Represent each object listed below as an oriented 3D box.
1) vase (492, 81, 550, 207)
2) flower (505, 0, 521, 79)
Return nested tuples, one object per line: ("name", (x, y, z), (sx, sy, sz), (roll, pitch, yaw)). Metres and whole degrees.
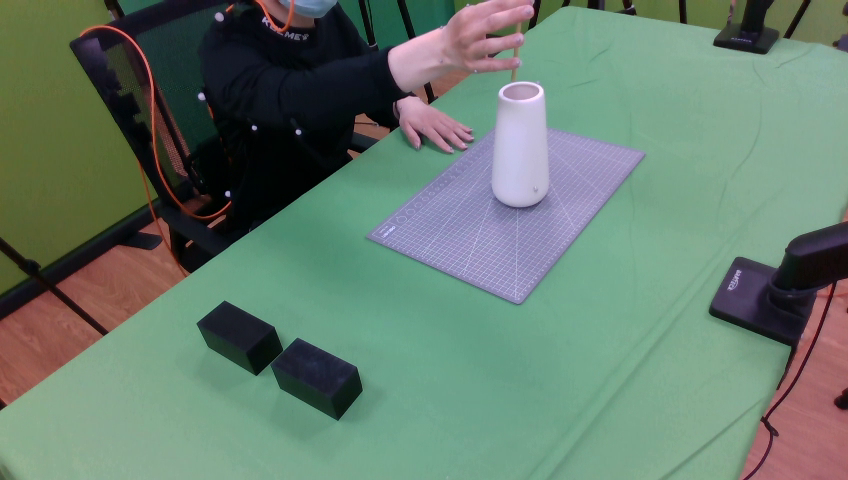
("vase", (0.159, -0.151, 0.982), (0.098, 0.201, 0.097), (-3, 41, 3))
("flower", (0.126, -0.345, 0.758), (0.044, 0.363, 0.038), (25, 59, 15))
